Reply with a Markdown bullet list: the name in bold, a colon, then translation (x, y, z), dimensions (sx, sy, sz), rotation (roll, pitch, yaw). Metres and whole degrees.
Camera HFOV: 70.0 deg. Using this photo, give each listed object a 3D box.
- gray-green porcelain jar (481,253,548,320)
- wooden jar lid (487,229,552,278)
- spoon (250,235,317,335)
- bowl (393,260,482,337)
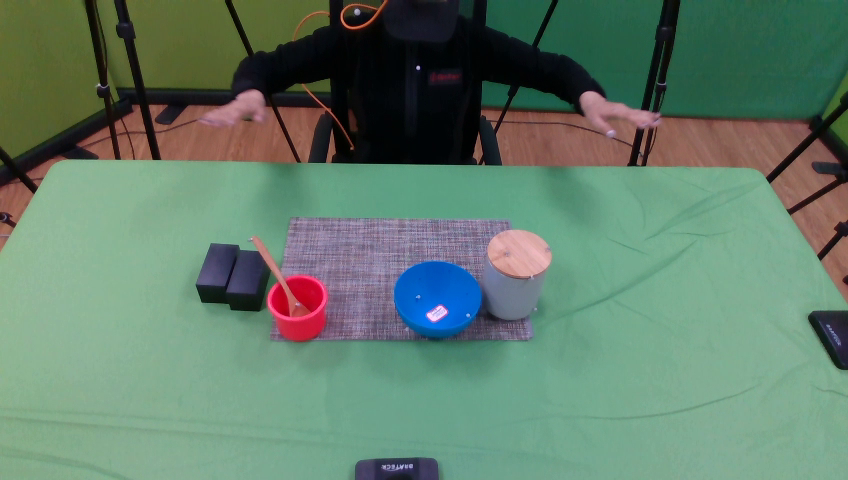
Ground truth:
- **gray-green porcelain jar**: translation (0.156, 0.070, 1.064), dimensions (0.106, 0.127, 0.105), rotation (2, 46, -2)
- **wooden jar lid**: translation (0.160, 0.026, 1.018), dimensions (0.108, 0.021, 0.107), rotation (2, 47, -1)
- **spoon**: translation (-0.237, 0.075, 1.019), dimensions (0.041, 0.021, 0.194), rotation (-32, 100, -32)
- **bowl**: translation (0.021, 0.115, 1.045), dimensions (0.151, 0.077, 0.150), rotation (2, 46, -2)
